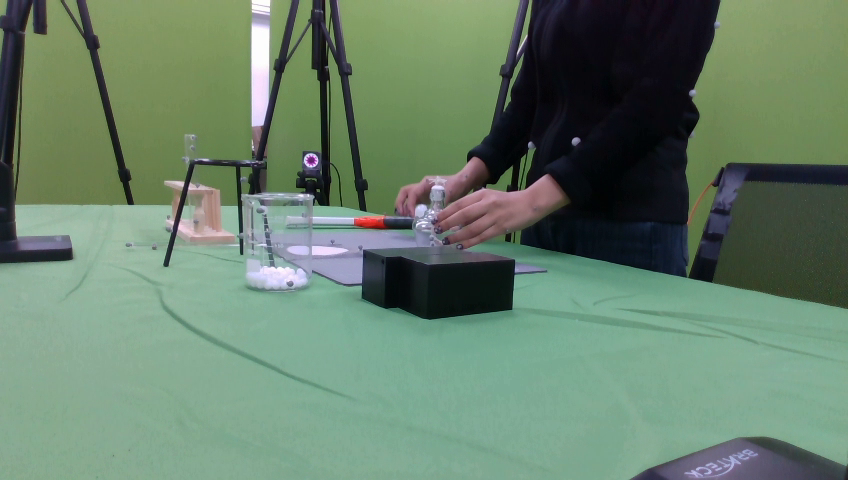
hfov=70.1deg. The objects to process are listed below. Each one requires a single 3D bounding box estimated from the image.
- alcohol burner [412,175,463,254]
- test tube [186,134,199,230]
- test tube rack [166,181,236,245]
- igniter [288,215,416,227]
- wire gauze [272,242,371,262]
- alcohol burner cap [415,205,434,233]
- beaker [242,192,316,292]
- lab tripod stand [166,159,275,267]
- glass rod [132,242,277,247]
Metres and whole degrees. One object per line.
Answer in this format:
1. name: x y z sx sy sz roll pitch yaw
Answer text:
1. alcohol burner: 0.020 -0.039 0.928 0.078 0.119 0.078 0 7 0
2. test tube: -0.360 -0.089 0.946 0.017 0.150 0.017 0 10 0
3. test tube rack: -0.383 -0.051 1.024 0.067 0.085 0.241 -2 9 -31
4. igniter: -0.136 -0.040 1.240 0.278 0.025 0.057 0 -2 -22
5. wire gauze: -0.155 0.013 0.878 0.122 0.011 0.124 -3 10 -29
6. alcohol burner cap: -0.001 -0.039 1.089 0.034 0.048 0.034 -8 8 1
7. beaker: -0.157 0.000 0.642 0.084 0.100 0.074 4 7 19
8. lab tripod stand: -0.249 -0.036 0.764 0.148 0.131 0.148 2 9 0
9. glass rod: -0.316 0.007 0.885 0.201 0.008 0.008 0 7 -27
